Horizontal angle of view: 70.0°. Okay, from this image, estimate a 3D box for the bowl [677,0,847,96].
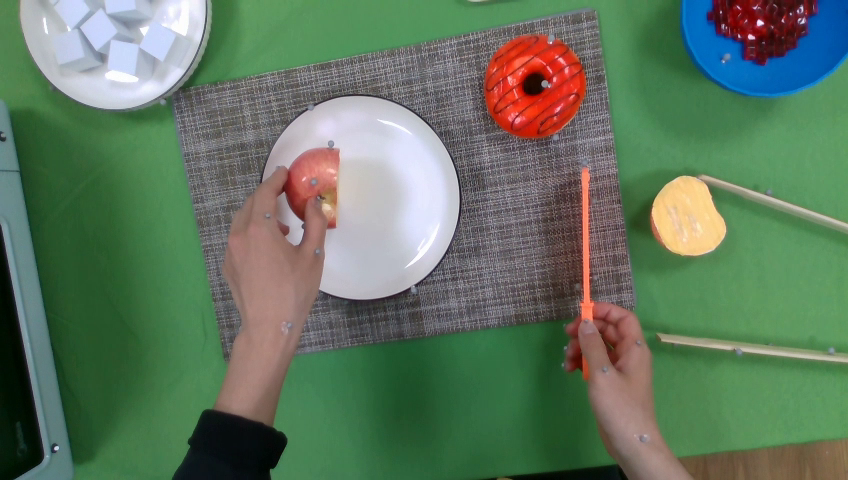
[{"bbox_3d":[0.297,-0.202,0.546,0.151,0.077,0.151,1,97,7],"label":"bowl"}]

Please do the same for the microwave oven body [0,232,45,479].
[{"bbox_3d":[-0.601,0.084,0.587,0.326,0.260,0.442,-6,96,7],"label":"microwave oven body"}]

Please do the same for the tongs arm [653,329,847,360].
[{"bbox_3d":[0.424,0.094,0.587,0.384,0.026,0.051,7,93,5],"label":"tongs arm"}]

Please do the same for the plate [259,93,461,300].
[{"bbox_3d":[-0.064,-0.044,0.623,0.209,0.038,0.209,1,96,7],"label":"plate"}]

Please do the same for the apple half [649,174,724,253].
[{"bbox_3d":[0.247,-0.022,0.591,0.081,0.033,0.081,3,78,-14],"label":"apple half"}]

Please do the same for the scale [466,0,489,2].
[{"bbox_3d":[0.093,-0.340,0.578,0.148,0.031,0.201,-4,96,8],"label":"scale"}]

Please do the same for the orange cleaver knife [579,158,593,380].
[{"bbox_3d":[0.157,0.026,0.586,0.012,0.077,0.211,-1,96,16],"label":"orange cleaver knife"}]

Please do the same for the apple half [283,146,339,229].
[{"bbox_3d":[-0.110,-0.054,0.592,0.053,0.074,0.081,2,120,-7],"label":"apple half"}]

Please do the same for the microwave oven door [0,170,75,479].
[{"bbox_3d":[-0.453,0.111,0.567,0.039,0.243,0.356,-7,95,7],"label":"microwave oven door"}]

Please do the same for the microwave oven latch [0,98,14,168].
[{"bbox_3d":[-0.465,-0.117,0.646,0.030,0.029,0.079,-4,96,7],"label":"microwave oven latch"}]

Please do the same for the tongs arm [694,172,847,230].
[{"bbox_3d":[0.442,0.010,0.578,0.387,0.028,0.028,22,90,3],"label":"tongs arm"}]

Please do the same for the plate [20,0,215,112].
[{"bbox_3d":[-0.315,-0.238,0.634,0.207,0.039,0.208,1,96,7],"label":"plate"}]

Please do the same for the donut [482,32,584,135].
[{"bbox_3d":[0.104,-0.151,0.588,0.099,0.048,0.099,1,98,9],"label":"donut"}]
